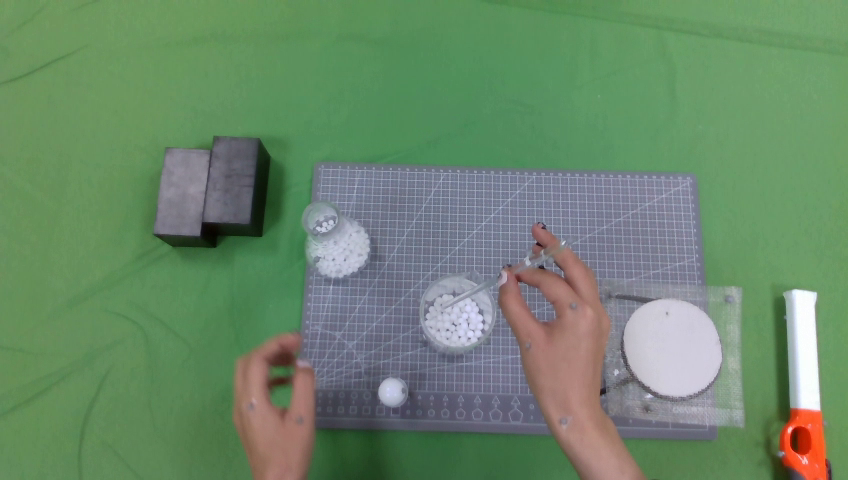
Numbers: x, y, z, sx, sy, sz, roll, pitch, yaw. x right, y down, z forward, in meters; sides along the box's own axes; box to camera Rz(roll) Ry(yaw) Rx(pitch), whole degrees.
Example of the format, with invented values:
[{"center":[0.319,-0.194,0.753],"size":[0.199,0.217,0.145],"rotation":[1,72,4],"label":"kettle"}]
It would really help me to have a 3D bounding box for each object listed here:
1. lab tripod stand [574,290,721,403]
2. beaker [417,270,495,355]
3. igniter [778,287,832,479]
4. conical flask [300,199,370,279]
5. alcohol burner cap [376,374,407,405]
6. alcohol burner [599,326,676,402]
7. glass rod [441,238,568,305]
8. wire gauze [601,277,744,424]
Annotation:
[{"center":[0.217,0.114,0.599],"size":[0.148,0.132,0.147],"rotation":[0,78,0],"label":"lab tripod stand"},{"center":[0.032,0.077,0.623],"size":[0.074,0.101,0.083],"rotation":[25,76,6],"label":"beaker"},{"center":[0.400,0.186,0.640],"size":[0.057,0.025,0.275],"rotation":[9,76,-10],"label":"igniter"},{"center":[-0.099,-0.006,0.630],"size":[0.075,0.122,0.075],"rotation":[0,75,0],"label":"conical flask"},{"center":[-0.034,0.157,0.632],"size":[0.034,0.048,0.033],"rotation":[0,77,-2],"label":"alcohol burner cap"},{"center":[0.219,0.123,0.607],"size":[0.078,0.119,0.077],"rotation":[0,76,2],"label":"alcohol burner"},{"center":[0.061,0.032,0.516],"size":[0.008,0.200,0.008],"rotation":[9,68,-23],"label":"glass rod"},{"center":[0.219,0.095,0.534],"size":[0.125,0.011,0.121],"rotation":[4,77,1],"label":"wire gauze"}]
